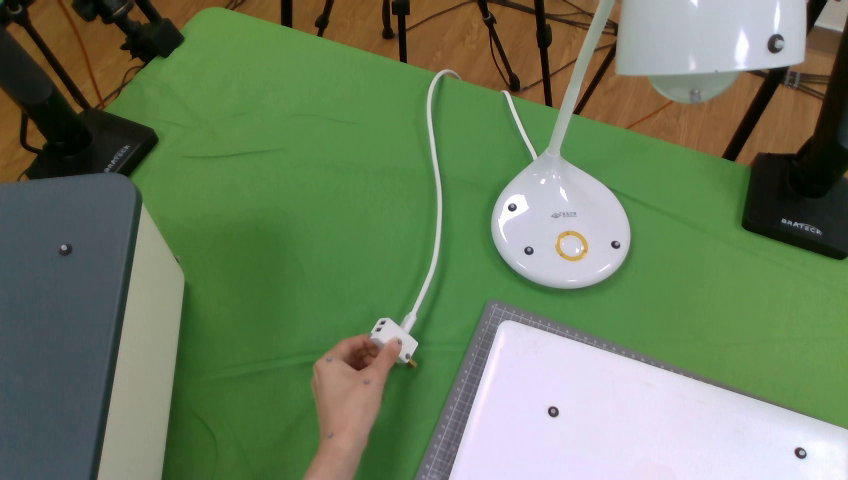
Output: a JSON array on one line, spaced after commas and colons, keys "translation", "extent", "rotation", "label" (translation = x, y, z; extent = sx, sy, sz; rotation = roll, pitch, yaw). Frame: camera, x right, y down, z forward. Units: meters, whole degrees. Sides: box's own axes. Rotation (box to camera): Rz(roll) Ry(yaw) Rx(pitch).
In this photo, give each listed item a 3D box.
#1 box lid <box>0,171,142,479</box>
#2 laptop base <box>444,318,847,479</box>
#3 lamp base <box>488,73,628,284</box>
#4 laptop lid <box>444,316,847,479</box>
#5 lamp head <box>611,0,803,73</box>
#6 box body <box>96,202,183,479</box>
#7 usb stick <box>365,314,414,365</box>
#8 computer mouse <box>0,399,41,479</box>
[{"translation": [-0.370, 0.102, 0.462], "extent": [0.263, 0.015, 0.368], "rotation": [-5, 60, -3], "label": "box lid"}, {"translation": [0.203, 0.227, 0.559], "extent": [0.353, 0.023, 0.234], "rotation": [17, 64, 10], "label": "laptop base"}, {"translation": [0.150, -0.071, 0.642], "extent": [0.161, 0.182, 0.177], "rotation": [-15, 57, -9], "label": "lamp base"}, {"translation": [0.202, 0.222, 0.548], "extent": [0.355, 0.013, 0.240], "rotation": [19, 63, 11], "label": "laptop lid"}, {"translation": [0.171, -0.168, 0.374], "extent": [0.112, 0.112, 0.123], "rotation": [-8, 103, -4], "label": "lamp head"}, {"translation": [-0.370, 0.142, 0.524], "extent": [0.254, 0.161, 0.360], "rotation": [-5, 59, -3], "label": "box body"}, {"translation": [-0.030, 0.103, 0.617], "extent": [0.059, 0.021, 0.027], "rotation": [49, 56, -23], "label": "usb stick"}, {"translation": [-0.399, 0.188, 0.555], "extent": [0.063, 0.041, 0.116], "rotation": [-31, 24, -7], "label": "computer mouse"}]
